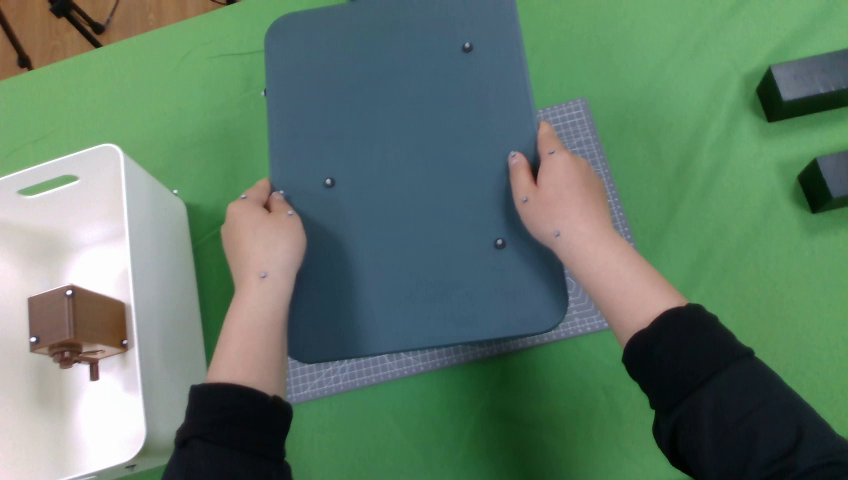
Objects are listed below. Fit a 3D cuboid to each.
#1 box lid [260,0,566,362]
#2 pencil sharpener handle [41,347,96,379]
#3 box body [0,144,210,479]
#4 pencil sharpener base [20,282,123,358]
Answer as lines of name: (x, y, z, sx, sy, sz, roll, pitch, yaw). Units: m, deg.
box lid: (-0.023, -0.083, 0.575, 0.263, 0.015, 0.369, -9, 74, 5)
pencil sharpener handle: (-0.418, 0.148, 0.718, 0.036, 0.068, 0.030, -20, 70, 12)
box body: (-0.420, 0.105, 0.723, 0.254, 0.161, 0.361, -17, 70, 4)
pencil sharpener base: (-0.431, 0.106, 0.746, 0.061, 0.108, 0.076, -17, 71, 4)
